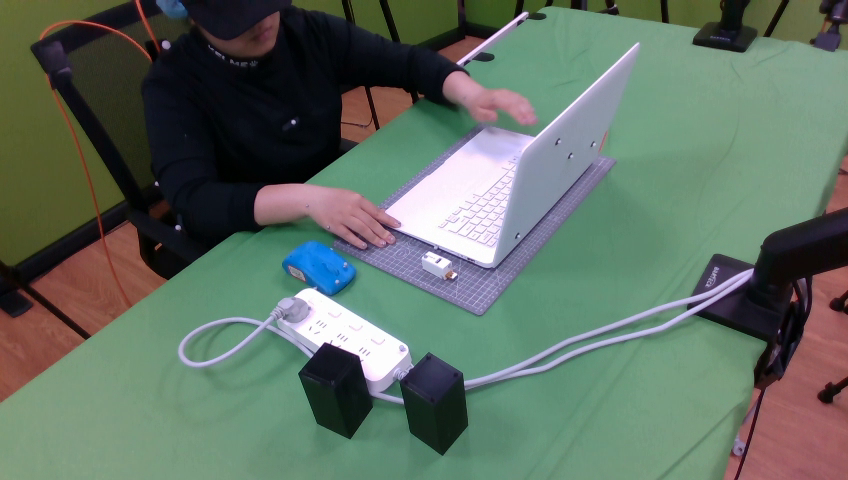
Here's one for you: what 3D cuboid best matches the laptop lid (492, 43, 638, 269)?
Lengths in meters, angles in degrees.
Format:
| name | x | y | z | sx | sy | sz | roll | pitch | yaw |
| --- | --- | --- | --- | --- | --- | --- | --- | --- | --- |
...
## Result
| name | x | y | z | sx | sy | sz | roll | pitch | yaw |
| --- | --- | --- | --- | --- | --- | --- | --- | --- | --- |
| laptop lid | 0.216 | -0.129 | 0.912 | 0.013 | 0.242 | 0.358 | 32 | 51 | 21 |

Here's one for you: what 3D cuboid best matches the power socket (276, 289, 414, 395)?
| name | x | y | z | sx | sy | sz | roll | pitch | yaw |
| --- | --- | --- | --- | --- | --- | --- | --- | --- | --- |
| power socket | -0.114 | 0.133 | 0.820 | 0.225 | 0.033 | 0.072 | 25 | 49 | 33 |

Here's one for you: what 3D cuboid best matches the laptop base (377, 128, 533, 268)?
| name | x | y | z | sx | sy | sz | roll | pitch | yaw |
| --- | --- | --- | --- | --- | --- | --- | --- | --- | --- |
| laptop base | 0.115 | -0.088 | 1.059 | 0.233 | 0.023 | 0.355 | 20 | 47 | 33 |

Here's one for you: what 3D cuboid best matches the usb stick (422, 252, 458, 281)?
| name | x | y | z | sx | sy | sz | roll | pitch | yaw |
| --- | --- | --- | --- | --- | --- | --- | --- | --- | --- |
| usb stick | 0.025 | 0.042 | 0.908 | 0.058 | 0.027 | 0.021 | 27 | 47 | 31 |

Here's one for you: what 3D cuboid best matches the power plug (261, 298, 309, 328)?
| name | x | y | z | sx | sy | sz | roll | pitch | yaw |
| --- | --- | --- | --- | --- | --- | --- | --- | --- | --- |
| power plug | -0.192 | 0.107 | 0.831 | 0.073 | 0.053 | 0.035 | -33 | 43 | -25 |

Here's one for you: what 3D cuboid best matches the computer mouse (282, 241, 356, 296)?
| name | x | y | z | sx | sy | sz | roll | pitch | yaw |
| --- | --- | --- | --- | --- | --- | --- | --- | --- | --- |
| computer mouse | -0.164 | 0.041 | 0.934 | 0.116 | 0.041 | 0.063 | 27 | 48 | 28 |
